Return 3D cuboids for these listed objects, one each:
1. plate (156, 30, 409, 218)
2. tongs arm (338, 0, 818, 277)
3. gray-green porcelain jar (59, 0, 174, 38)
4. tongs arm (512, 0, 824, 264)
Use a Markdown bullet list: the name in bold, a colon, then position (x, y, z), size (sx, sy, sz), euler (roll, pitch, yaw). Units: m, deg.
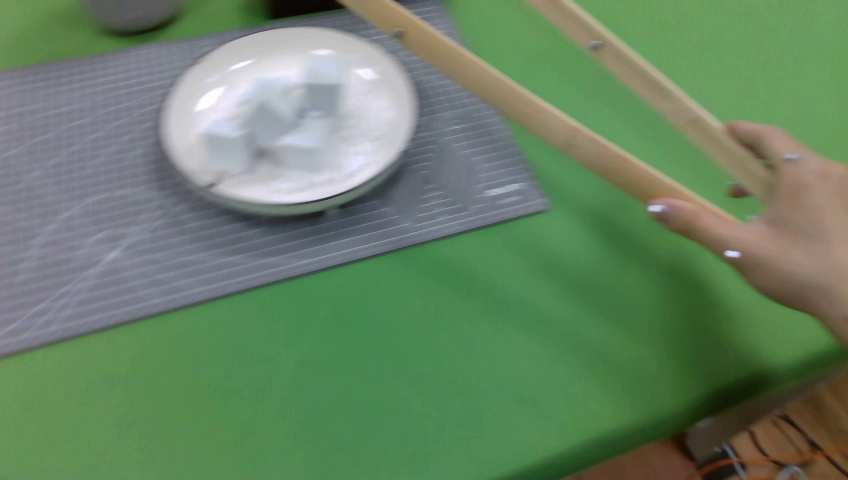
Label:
- **plate**: position (-0.117, -0.100, 0.520), size (0.209, 0.038, 0.207), euler (1, 57, -2)
- **tongs arm**: position (0.083, -0.088, 0.415), size (0.386, 0.028, 0.028), euler (35, 48, 10)
- **gray-green porcelain jar**: position (-0.303, -0.267, 0.571), size (0.106, 0.127, 0.105), euler (1, 56, -1)
- **tongs arm**: position (0.134, -0.127, 0.458), size (0.051, 0.027, 0.382), euler (-33, 70, -34)
